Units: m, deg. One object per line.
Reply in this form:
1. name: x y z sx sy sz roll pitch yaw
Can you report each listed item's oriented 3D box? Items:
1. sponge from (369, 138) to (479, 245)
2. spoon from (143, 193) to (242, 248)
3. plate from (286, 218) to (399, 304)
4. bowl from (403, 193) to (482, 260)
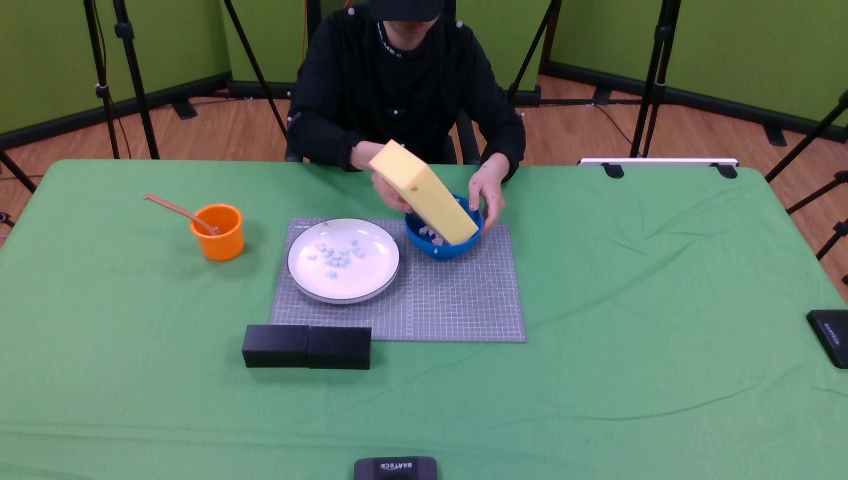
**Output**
1. sponge: 0.002 -0.079 1.088 0.061 0.208 0.117 -47 47 -3
2. spoon: -0.421 -0.037 1.113 0.021 0.195 0.041 -36 37 23
3. plate: -0.150 0.041 1.131 0.209 0.038 0.208 2 45 -2
4. bowl: 0.034 -0.015 1.172 0.151 0.077 0.150 2 46 -2
